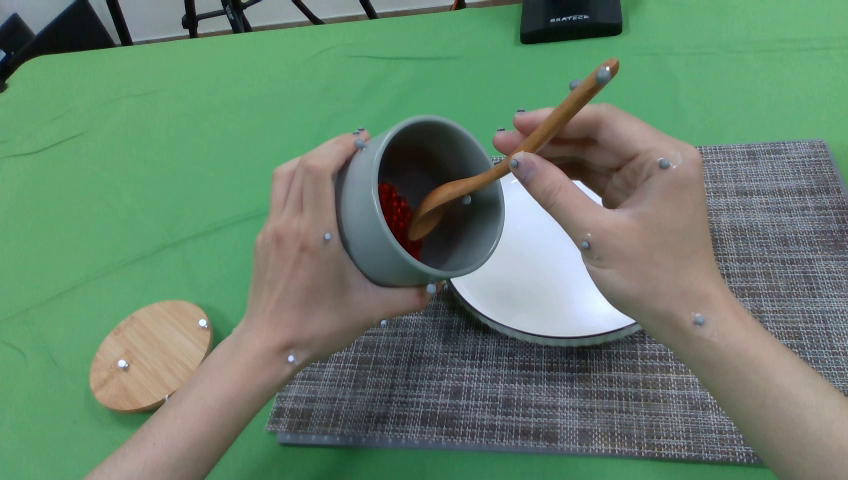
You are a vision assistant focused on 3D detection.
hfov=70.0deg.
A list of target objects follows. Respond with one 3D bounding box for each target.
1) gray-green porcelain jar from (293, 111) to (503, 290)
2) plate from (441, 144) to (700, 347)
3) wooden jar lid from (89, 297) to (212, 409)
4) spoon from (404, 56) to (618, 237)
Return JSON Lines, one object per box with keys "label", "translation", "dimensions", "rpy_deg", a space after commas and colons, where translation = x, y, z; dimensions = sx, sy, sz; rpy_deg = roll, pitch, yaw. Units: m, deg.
{"label": "gray-green porcelain jar", "translation": [-0.025, -0.020, 0.427], "dimensions": [0.126, 0.106, 0.105], "rpy_deg": [-14, 35, 52]}
{"label": "plate", "translation": [0.113, 0.002, 0.501], "dimensions": [0.207, 0.039, 0.205], "rpy_deg": [-7, 48, 8]}
{"label": "wooden jar lid", "translation": [-0.233, 0.098, 0.525], "dimensions": [0.108, 0.021, 0.107], "rpy_deg": [-6, 49, 7]}
{"label": "spoon", "translation": [0.039, -0.043, 0.340], "dimensions": [0.041, 0.193, 0.021], "rpy_deg": [-32, 90, -36]}
